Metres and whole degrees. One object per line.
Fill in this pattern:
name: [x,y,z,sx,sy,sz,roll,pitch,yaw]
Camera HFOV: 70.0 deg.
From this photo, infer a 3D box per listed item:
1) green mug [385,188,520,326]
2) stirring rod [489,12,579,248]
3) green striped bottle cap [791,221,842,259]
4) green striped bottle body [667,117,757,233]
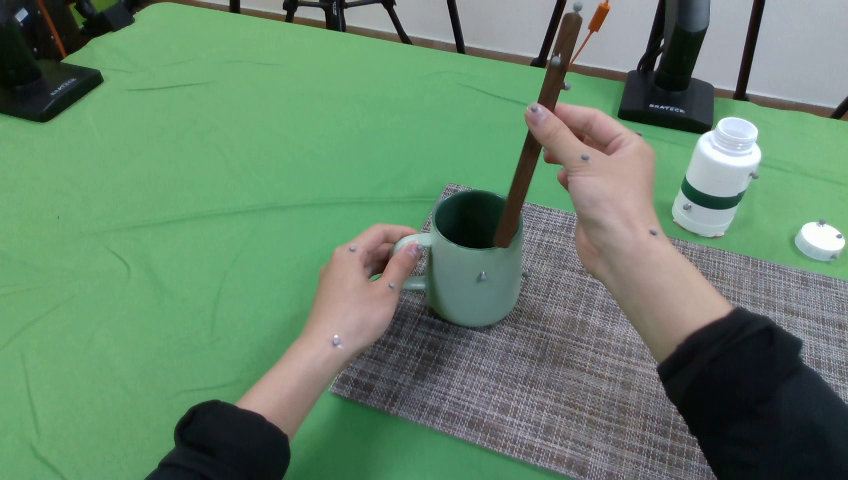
green mug: [0.027,0.019,0.554,0.125,0.106,0.091,-7,46,-7]
stirring rod: [0.078,-0.075,0.442,0.014,0.177,0.006,15,20,0]
green striped bottle cap: [0.418,0.000,0.644,0.044,0.020,0.044,1,41,-1]
green striped bottle body: [0.305,-0.069,0.639,0.063,0.120,0.062,0,45,0]
